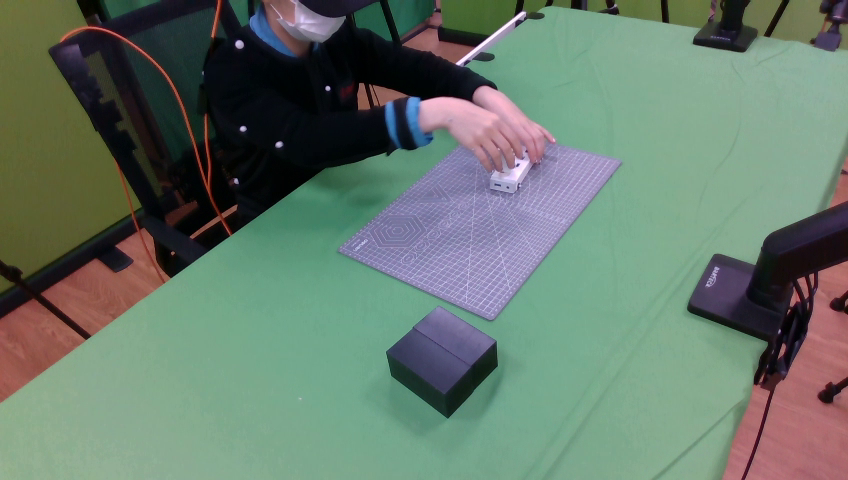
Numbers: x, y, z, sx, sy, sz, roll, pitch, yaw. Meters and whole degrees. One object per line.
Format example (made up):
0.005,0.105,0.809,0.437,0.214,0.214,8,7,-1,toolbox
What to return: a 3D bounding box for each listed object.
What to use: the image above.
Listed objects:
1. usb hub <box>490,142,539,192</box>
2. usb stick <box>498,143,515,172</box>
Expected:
0.164,-0.132,1.091,0.049,0.025,0.125,15,46,23,usb hub
0.144,-0.137,1.052,0.027,0.059,0.021,16,46,22,usb stick
